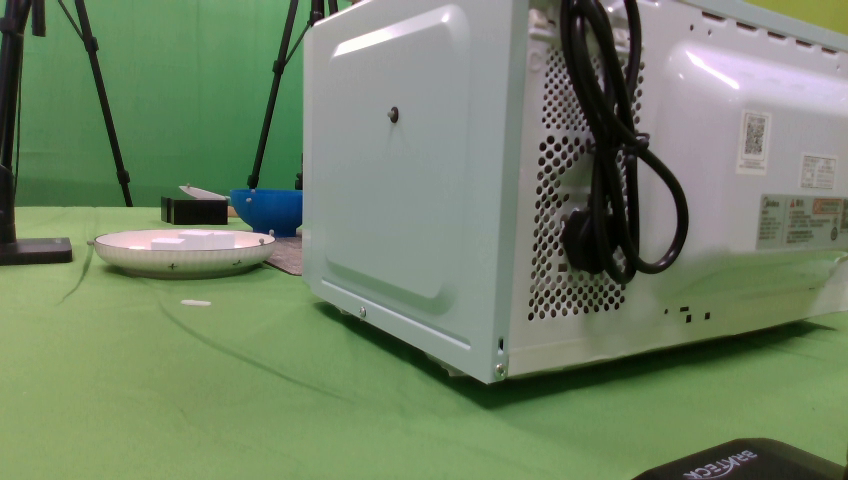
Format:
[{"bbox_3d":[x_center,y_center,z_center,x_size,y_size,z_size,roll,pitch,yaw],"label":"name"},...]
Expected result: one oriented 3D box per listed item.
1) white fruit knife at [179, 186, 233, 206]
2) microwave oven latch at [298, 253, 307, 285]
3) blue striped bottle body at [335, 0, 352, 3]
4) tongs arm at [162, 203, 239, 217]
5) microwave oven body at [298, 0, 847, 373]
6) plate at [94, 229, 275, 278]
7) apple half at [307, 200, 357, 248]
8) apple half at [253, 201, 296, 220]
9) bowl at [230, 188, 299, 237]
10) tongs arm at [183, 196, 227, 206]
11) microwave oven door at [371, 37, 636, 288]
[{"bbox_3d":[-0.413,-0.081,1.270,0.208,0.027,0.016,17,13,-41],"label":"white fruit knife"},{"bbox_3d":[-0.081,0.027,0.582,0.079,0.029,0.030,-1,7,-32],"label":"microwave oven latch"},{"bbox_3d":[-0.115,-0.439,0.948,0.063,0.120,0.063,7,8,-1],"label":"blue striped bottle body"},{"bbox_3d":[-0.396,-0.066,1.399,0.389,0.028,0.028,1,5,-15],"label":"tongs arm"},{"bbox_3d":[0.151,-0.055,0.542,0.444,0.260,0.324,-2,7,-33],"label":"microwave oven body"},{"bbox_3d":[-0.291,0.016,0.750,0.208,0.039,0.207,2,7,0],"label":"plate"},{"bbox_3d":[-0.135,-0.024,0.941,0.053,0.074,0.081,13,9,39],"label":"apple half"},{"bbox_3d":[-0.264,-0.053,1.067,0.081,0.033,0.081,1,8,0],"label":"apple half"},{"bbox_3d":[-0.264,-0.048,1.065,0.151,0.077,0.151,3,8,0],"label":"bowl"},{"bbox_3d":[-0.404,-0.081,1.479,0.385,0.026,0.050,3,8,-2],"label":"tongs arm"},{"bbox_3d":[0.109,-0.080,0.686,0.358,0.243,0.039,-2,9,-33],"label":"microwave oven door"}]
